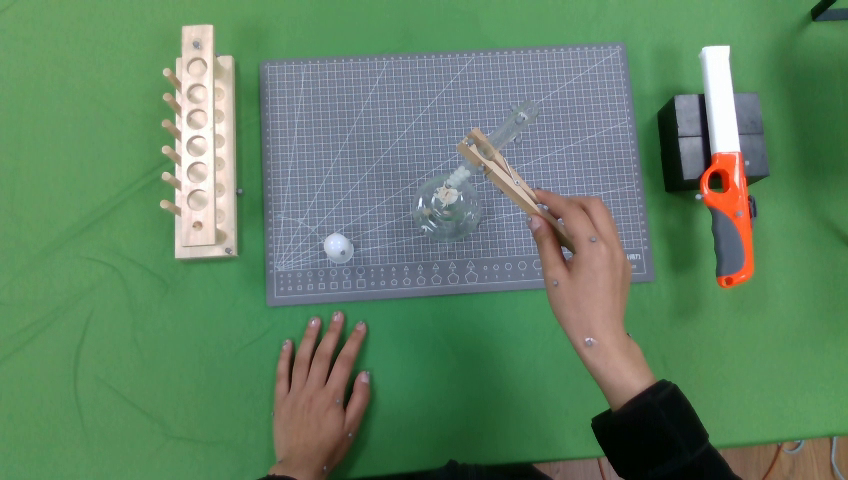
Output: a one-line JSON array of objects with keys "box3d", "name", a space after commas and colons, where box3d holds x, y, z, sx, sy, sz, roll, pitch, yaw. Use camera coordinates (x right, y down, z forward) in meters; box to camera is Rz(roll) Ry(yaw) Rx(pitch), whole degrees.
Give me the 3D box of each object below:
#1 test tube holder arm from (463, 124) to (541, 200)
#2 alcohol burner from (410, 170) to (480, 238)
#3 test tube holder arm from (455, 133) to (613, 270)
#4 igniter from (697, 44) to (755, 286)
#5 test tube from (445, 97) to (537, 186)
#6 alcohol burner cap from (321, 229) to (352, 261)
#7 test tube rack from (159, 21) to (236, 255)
[{"box3d": [0.068, -0.065, 0.530, 0.088, 0.015, 0.010, 47, 60, -6], "name": "test tube holder arm"}, {"box3d": [0.023, -0.042, 0.658, 0.078, 0.119, 0.077, 0, 82, -1], "name": "alcohol burner"}, {"box3d": [0.098, -0.031, 0.533, 0.179, 0.015, 0.013, 40, 61, -10], "name": "test tube holder arm"}, {"box3d": [0.332, -0.087, 0.675, 0.057, 0.025, 0.275, -1, 80, 4], "name": "igniter"}, {"box3d": [0.052, -0.079, 0.519, 0.017, 0.150, 0.017, 7, 70, -20], "name": "test tube"}, {"box3d": [-0.100, 0.003, 0.682, 0.034, 0.048, 0.033, 0, 79, -1], "name": "alcohol burner cap"}, {"box3d": [-0.256, -0.110, 0.676, 0.067, 0.085, 0.241, -3, 81, -2], "name": "test tube rack"}]
